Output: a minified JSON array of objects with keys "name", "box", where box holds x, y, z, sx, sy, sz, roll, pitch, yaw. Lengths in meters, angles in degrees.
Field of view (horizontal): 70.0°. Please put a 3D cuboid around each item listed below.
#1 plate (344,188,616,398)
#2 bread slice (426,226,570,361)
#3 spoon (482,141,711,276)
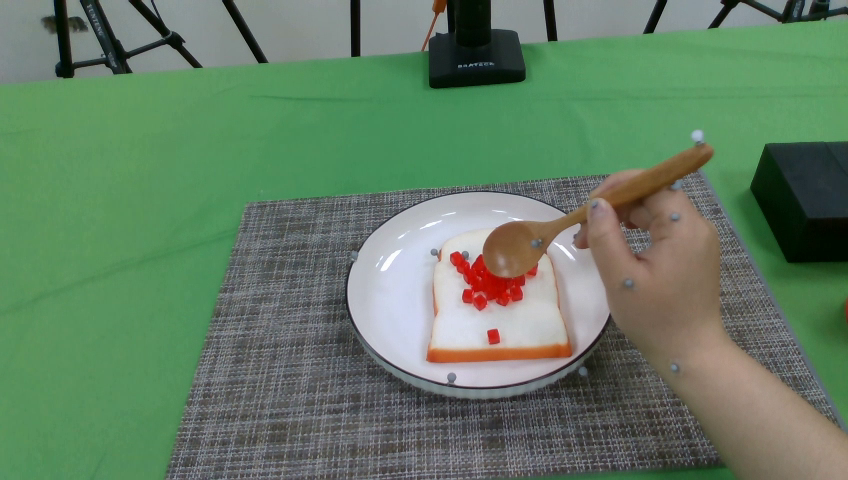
[{"name":"plate","box":[0.042,0.038,0.481,0.209,0.038,0.207,-3,44,4]},{"name":"bread slice","box":[0.054,0.038,0.482,0.105,0.019,0.130,-2,45,3]},{"name":"spoon","box":[0.100,-0.015,0.393,0.022,0.193,0.041,-15,80,-32]}]
